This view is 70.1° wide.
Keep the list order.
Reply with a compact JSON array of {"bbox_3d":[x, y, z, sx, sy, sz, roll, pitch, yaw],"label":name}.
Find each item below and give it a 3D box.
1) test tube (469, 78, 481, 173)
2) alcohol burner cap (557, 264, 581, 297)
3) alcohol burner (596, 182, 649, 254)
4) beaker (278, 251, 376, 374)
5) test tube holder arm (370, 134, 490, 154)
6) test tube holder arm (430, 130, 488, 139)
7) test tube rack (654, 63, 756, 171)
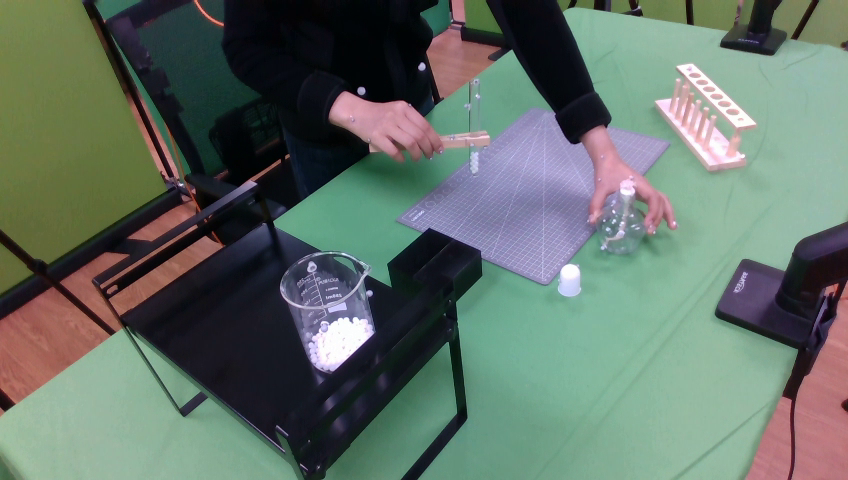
[{"bbox_3d":[0.075,-0.165,0.892,0.017,0.151,0.017,-2,36,2],"label":"test tube"},{"bbox_3d":[0.209,0.055,0.865,0.034,0.048,0.033,-4,41,4],"label":"alcohol burner cap"},{"bbox_3d":[0.296,-0.038,0.897,0.078,0.119,0.077,-3,42,4],"label":"alcohol burner"},{"bbox_3d":[-0.084,0.070,0.569,0.084,0.101,0.073,-18,42,-13],"label":"beaker"},{"bbox_3d":[0.009,-0.142,0.889,0.179,0.015,0.013,-7,29,-8],"label":"test tube holder arm"},{"bbox_3d":[0.052,-0.151,0.901,0.088,0.015,0.010,-10,30,-14],"label":"test tube holder arm"},{"bbox_3d":[0.511,-0.233,1.120,0.067,0.085,0.241,-8,41,-1],"label":"test tube rack"}]
